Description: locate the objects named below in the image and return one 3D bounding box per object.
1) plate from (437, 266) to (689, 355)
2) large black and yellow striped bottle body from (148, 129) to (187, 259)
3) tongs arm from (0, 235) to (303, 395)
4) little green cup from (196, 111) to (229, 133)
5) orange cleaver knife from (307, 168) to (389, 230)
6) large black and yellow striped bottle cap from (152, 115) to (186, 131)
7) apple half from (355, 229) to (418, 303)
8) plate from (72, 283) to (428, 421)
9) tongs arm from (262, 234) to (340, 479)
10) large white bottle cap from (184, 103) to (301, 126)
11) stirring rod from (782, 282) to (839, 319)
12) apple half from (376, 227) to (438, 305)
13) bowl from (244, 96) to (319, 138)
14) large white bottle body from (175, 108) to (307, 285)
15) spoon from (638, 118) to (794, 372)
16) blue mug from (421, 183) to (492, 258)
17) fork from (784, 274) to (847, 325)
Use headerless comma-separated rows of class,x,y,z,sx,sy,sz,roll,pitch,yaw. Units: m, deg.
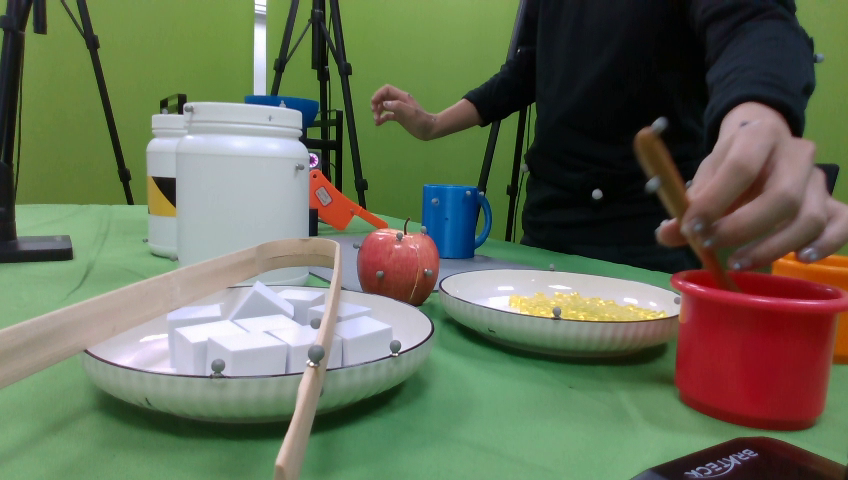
plate,0.113,0.057,0.518,0.209,0.038,0.209,3,8,0
large black and yellow striped bottle body,-0.310,-0.073,0.838,0.131,0.184,0.130,2,8,0
tongs arm,-0.157,0.038,0.351,0.028,0.028,0.388,-3,9,12
little green cup,-0.403,-0.225,1.154,0.061,0.038,0.061,3,8,0
orange cleaver knife,-0.158,-0.060,1.166,0.212,0.077,0.012,34,-12,-32
large black and yellow striped bottle cap,-0.309,-0.156,0.826,0.115,0.019,0.115,3,6,0
apple half,-0.044,0.027,0.564,0.081,0.081,0.033,9,5,42
plate,-0.102,0.066,0.381,0.208,0.039,0.207,2,7,0
tongs arm,-0.074,0.039,0.349,0.051,0.026,0.384,-2,10,-3
large white bottle cap,-0.184,-0.126,0.618,0.115,0.018,0.115,2,8,0
stirring rod,0.345,0.019,0.461,0.014,0.006,0.176,-14,-27,-30
apple half,-0.017,0.026,0.593,0.080,0.074,0.053,4,2,43
bowl,-0.294,-0.252,1.254,0.151,0.077,0.151,2,7,0
large white bottle body,-0.188,-0.042,0.630,0.131,0.184,0.130,2,8,0
spoon,0.168,0.010,0.353,0.041,0.194,0.021,-30,18,17
blue mug,0.052,-0.032,0.912,0.117,0.106,0.082,-1,8,-24
fork,0.332,0.018,0.442,0.028,0.018,0.207,0,-36,-14
